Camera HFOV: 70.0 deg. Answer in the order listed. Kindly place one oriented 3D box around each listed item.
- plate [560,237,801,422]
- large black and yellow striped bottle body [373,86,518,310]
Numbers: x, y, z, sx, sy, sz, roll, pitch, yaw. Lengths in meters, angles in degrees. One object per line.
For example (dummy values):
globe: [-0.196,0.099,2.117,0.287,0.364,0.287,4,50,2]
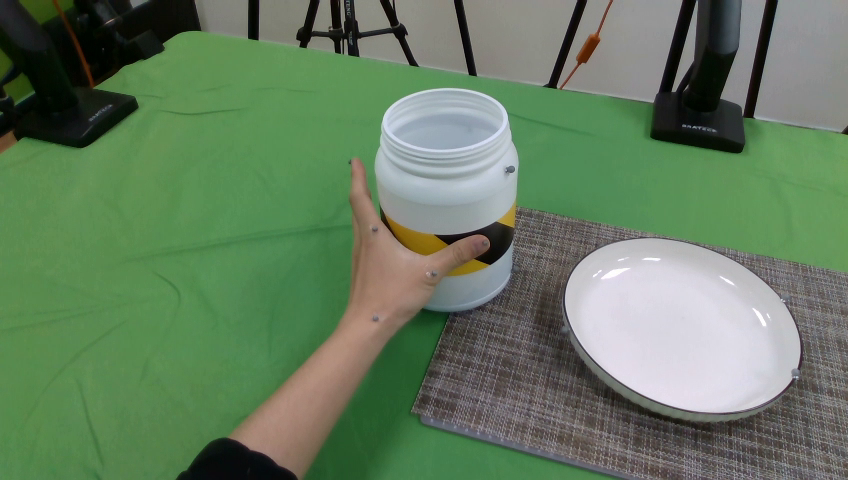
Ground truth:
plate: [0.228,0.079,0.558,0.208,0.039,0.205,1,42,0]
large black and yellow striped bottle body: [0.021,-0.038,0.575,0.131,0.186,0.129,-2,42,2]
